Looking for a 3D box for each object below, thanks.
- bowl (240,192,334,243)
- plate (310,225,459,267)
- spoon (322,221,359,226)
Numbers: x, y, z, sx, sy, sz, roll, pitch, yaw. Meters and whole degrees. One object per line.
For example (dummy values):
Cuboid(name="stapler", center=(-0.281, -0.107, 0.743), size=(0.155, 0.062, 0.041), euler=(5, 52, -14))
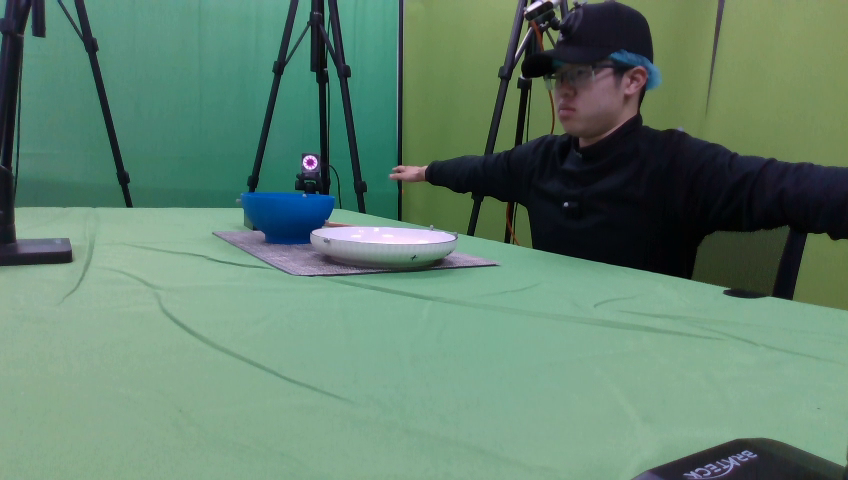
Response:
Cuboid(name="bowl", center=(-0.223, -0.037, 0.992), size=(0.151, 0.077, 0.151), euler=(2, 7, 0))
Cuboid(name="plate", center=(-0.055, 0.008, 0.851), size=(0.208, 0.039, 0.207), euler=(2, 7, 0))
Cuboid(name="spoon", center=(-0.197, -0.028, 1.149), size=(0.195, 0.021, 0.041), euler=(-2, -9, -30))
